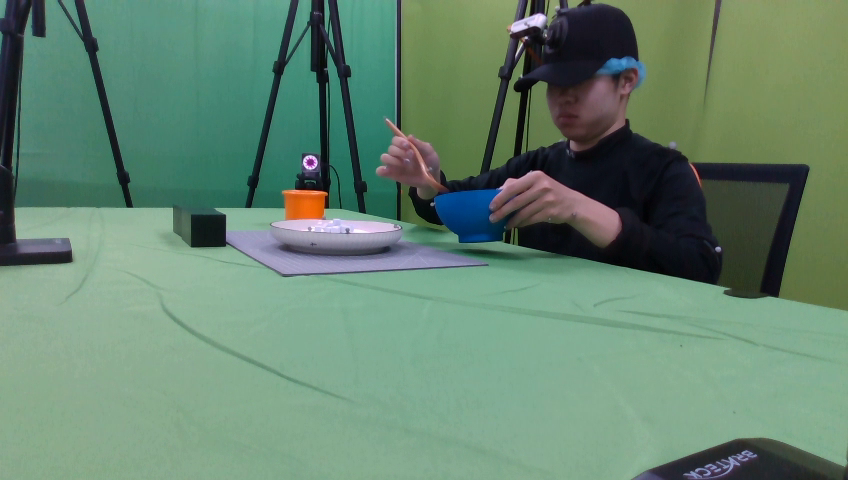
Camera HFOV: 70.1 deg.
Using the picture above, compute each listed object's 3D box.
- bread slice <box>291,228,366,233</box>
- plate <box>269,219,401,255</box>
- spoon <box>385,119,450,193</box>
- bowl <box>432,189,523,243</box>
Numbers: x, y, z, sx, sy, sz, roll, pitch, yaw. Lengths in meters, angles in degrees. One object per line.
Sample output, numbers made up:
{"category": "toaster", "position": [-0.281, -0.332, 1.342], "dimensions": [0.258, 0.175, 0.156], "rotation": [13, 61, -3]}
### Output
{"category": "bread slice", "position": [-0.143, -0.003, 0.953], "dimensions": [0.135, 0.018, 0.106], "rotation": [-1, 8, -37]}
{"category": "plate", "position": [-0.140, -0.006, 0.958], "dimensions": [0.209, 0.038, 0.209], "rotation": [3, 7, 0]}
{"category": "spoon", "position": [-0.014, -0.146, 1.033], "dimensions": [0.193, 0.021, 0.042], "rotation": [57, 13, 27]}
{"category": "bowl", "position": [0.090, -0.036, 0.999], "dimensions": [0.151, 0.076, 0.151], "rotation": [-3, -3, 0]}
